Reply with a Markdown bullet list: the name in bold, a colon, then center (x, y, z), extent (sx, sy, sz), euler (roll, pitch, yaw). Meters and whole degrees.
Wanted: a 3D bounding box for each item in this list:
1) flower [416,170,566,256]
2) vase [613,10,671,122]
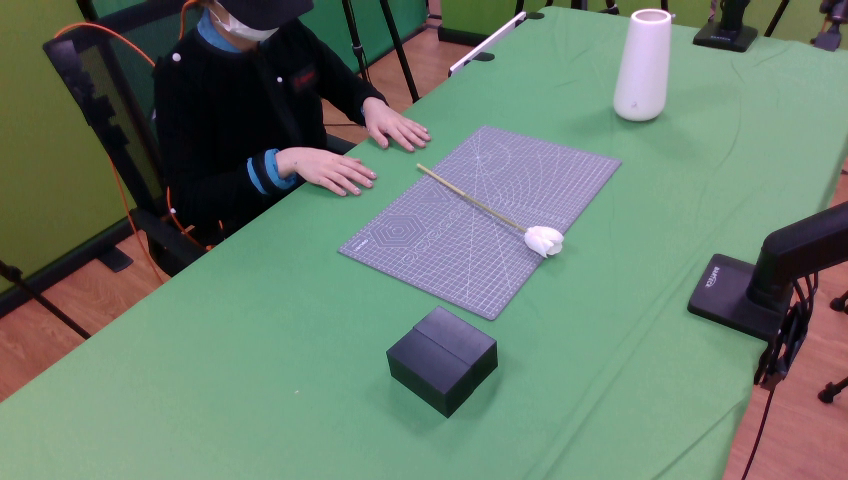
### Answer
- **flower**: center (0.094, -0.061, 1.028), extent (0.358, 0.038, 0.044), euler (33, 92, 44)
- **vase**: center (0.418, -0.326, 1.151), extent (0.098, 0.201, 0.097), euler (-4, 42, 4)
